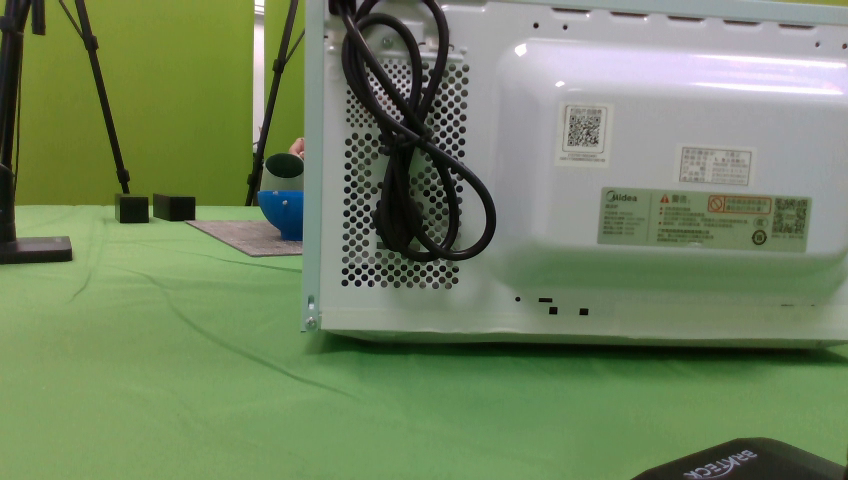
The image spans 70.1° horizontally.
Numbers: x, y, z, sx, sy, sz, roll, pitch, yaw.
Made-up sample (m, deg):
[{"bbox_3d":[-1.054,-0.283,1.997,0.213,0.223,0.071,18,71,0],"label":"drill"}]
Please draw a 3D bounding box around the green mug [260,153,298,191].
[{"bbox_3d":[-0.277,-0.121,1.225,0.092,0.105,0.125,22,45,4],"label":"green mug"}]

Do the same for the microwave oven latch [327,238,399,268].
[{"bbox_3d":[-0.069,0.015,0.694,0.079,0.029,0.030,3,7,-3],"label":"microwave oven latch"}]

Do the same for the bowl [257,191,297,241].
[{"bbox_3d":[-0.207,-0.041,1.027,0.151,0.077,0.151,3,8,0],"label":"bowl"}]

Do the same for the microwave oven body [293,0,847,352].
[{"bbox_3d":[0.122,-0.055,0.550,0.442,0.260,0.325,3,7,-5],"label":"microwave oven body"}]

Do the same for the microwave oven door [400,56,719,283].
[{"bbox_3d":[0.155,-0.078,0.697,0.356,0.243,0.039,2,8,-5],"label":"microwave oven door"}]
